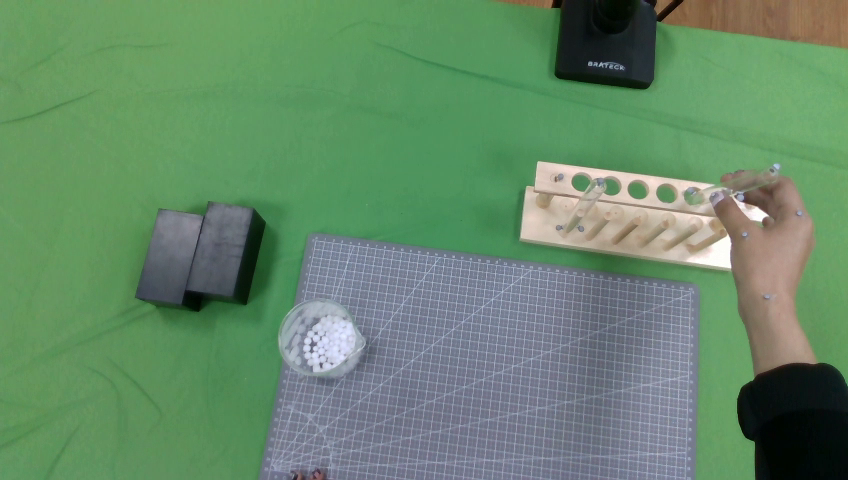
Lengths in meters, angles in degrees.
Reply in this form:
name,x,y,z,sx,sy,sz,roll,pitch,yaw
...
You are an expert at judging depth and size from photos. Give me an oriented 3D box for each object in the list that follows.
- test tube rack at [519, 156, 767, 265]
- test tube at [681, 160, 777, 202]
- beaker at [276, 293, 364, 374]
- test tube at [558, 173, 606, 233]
name,x,y,z,sx,sy,sz,roll,pitch,yaw
test tube rack,0.234,-0.030,0.668,0.242,0.085,0.066,8,75,2
test tube,0.285,-0.052,0.582,0.017,0.150,0.017,0,84,-4
beaker,-0.099,0.100,0.621,0.084,0.101,0.073,8,75,1
test tube,0.160,-0.035,0.623,0.017,0.151,0.017,0,74,1
